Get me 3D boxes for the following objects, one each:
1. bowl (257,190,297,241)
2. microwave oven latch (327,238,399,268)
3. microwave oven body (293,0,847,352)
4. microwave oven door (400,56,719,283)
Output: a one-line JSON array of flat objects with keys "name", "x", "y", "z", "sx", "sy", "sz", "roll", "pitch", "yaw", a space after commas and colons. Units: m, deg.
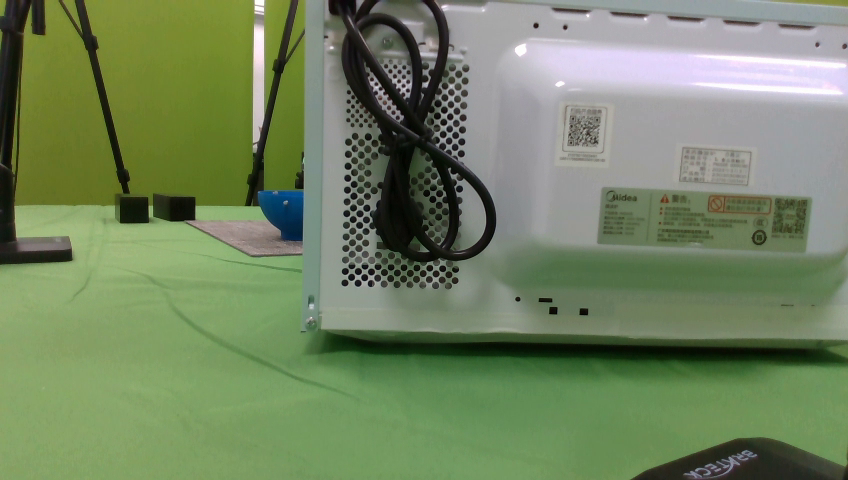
[{"name": "bowl", "x": -0.206, "y": -0.041, "z": 1.027, "sx": 0.151, "sy": 0.077, "sz": 0.151, "roll": 3, "pitch": 8, "yaw": 0}, {"name": "microwave oven latch", "x": -0.069, "y": 0.015, "z": 0.694, "sx": 0.079, "sy": 0.029, "sz": 0.030, "roll": 3, "pitch": 7, "yaw": -3}, {"name": "microwave oven body", "x": 0.122, "y": -0.055, "z": 0.550, "sx": 0.442, "sy": 0.260, "sz": 0.325, "roll": 3, "pitch": 7, "yaw": -5}, {"name": "microwave oven door", "x": 0.155, "y": -0.077, "z": 0.698, "sx": 0.356, "sy": 0.243, "sz": 0.039, "roll": 2, "pitch": 8, "yaw": -5}]
